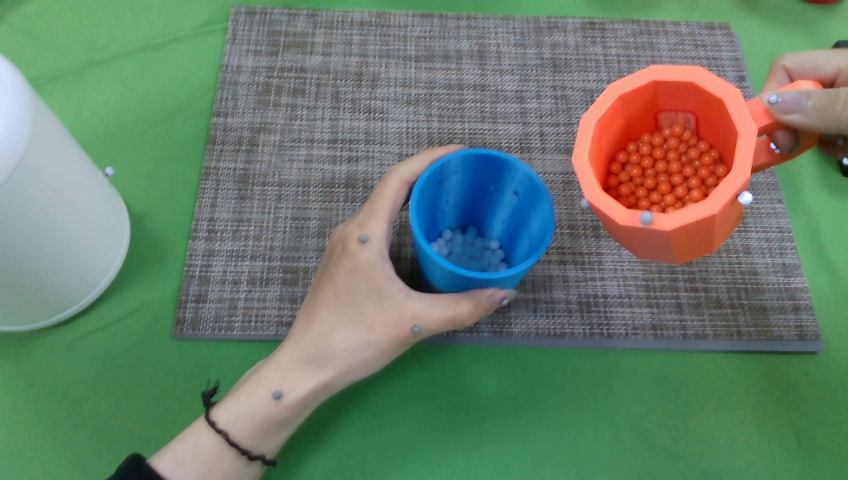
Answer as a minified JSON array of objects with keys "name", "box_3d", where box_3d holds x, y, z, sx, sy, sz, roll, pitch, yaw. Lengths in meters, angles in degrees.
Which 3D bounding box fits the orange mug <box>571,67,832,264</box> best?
[{"name":"orange mug","box_3d":[0.150,-0.043,0.335,0.126,0.101,0.083,-23,70,23]}]

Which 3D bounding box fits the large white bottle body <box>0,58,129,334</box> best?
[{"name":"large white bottle body","box_3d":[-0.271,-0.032,0.349,0.131,0.186,0.129,1,64,-2]}]

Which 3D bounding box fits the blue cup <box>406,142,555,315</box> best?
[{"name":"blue cup","box_3d":[0.029,0.005,0.389,0.093,0.101,0.092,2,64,-3]}]
